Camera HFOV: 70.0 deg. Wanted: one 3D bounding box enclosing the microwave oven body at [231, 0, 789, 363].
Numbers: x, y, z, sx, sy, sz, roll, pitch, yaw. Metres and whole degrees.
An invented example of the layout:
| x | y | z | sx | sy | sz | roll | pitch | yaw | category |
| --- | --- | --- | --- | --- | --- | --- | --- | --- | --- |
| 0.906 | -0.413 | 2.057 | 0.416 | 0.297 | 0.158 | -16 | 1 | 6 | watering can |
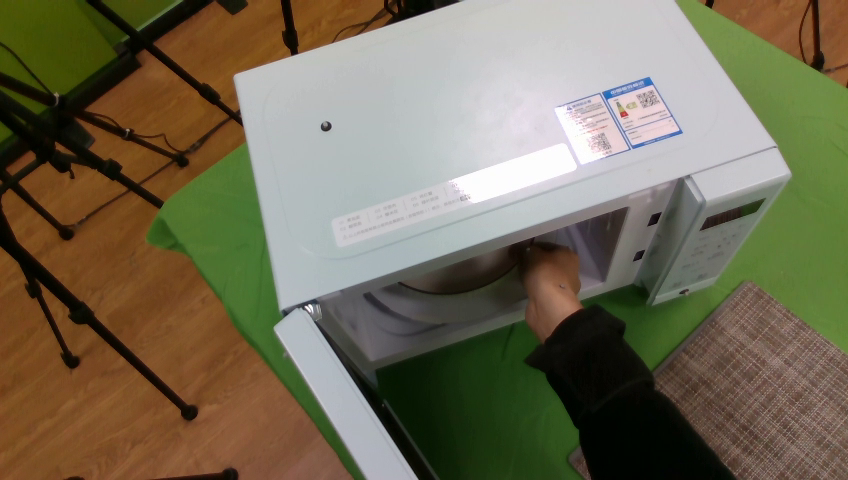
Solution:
| x | y | z | sx | sy | sz | roll | pitch | yaw | category |
| --- | --- | --- | --- | --- | --- | --- | --- | --- | --- |
| 0.066 | -0.073 | 0.667 | 0.442 | 0.262 | 0.323 | -19 | 63 | 0 | microwave oven body |

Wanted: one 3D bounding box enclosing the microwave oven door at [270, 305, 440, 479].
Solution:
| x | y | z | sx | sy | sz | roll | pitch | yaw | category |
| --- | --- | --- | --- | --- | --- | --- | --- | --- | --- |
| 0.003 | 0.230 | 0.522 | 0.039 | 0.246 | 0.352 | -36 | 64 | -10 | microwave oven door |

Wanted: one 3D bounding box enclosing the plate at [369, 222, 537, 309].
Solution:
| x | y | z | sx | sy | sz | roll | pitch | yaw | category |
| --- | --- | --- | --- | --- | --- | --- | --- | --- | --- |
| 0.026 | -0.010 | 0.692 | 0.209 | 0.038 | 0.207 | -6 | 57 | 9 | plate |

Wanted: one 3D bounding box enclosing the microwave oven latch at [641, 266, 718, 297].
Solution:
| x | y | z | sx | sy | sz | roll | pitch | yaw | category |
| --- | --- | --- | --- | --- | --- | --- | --- | --- | --- |
| 0.290 | 0.038 | 0.689 | 0.079 | 0.030 | 0.030 | -18 | 63 | 0 | microwave oven latch |

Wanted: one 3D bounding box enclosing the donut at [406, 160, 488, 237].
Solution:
| x | y | z | sx | sy | sz | roll | pitch | yaw | category |
| --- | --- | --- | --- | --- | --- | --- | --- | --- | --- |
| 0.028 | -0.049 | 0.712 | 0.099 | 0.048 | 0.098 | 5 | 65 | -11 | donut |
